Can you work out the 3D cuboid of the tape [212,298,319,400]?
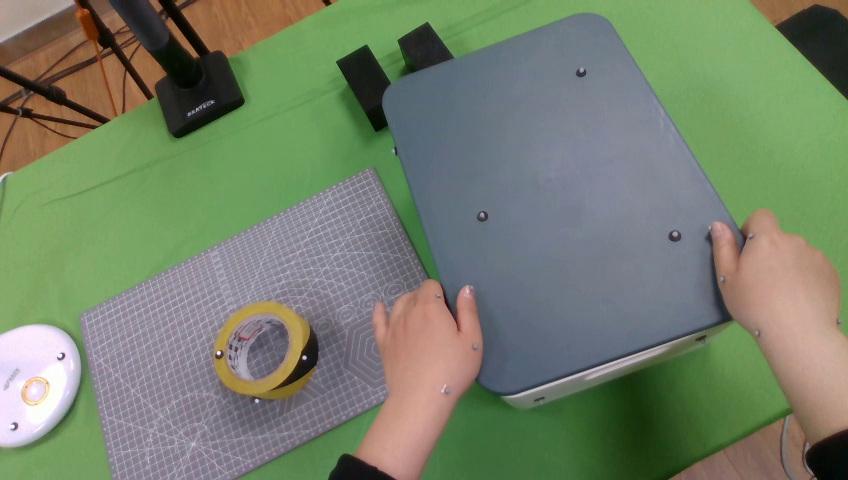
[{"bbox_3d":[-0.190,0.131,0.729,0.116,0.053,0.116,-4,67,10],"label":"tape"}]

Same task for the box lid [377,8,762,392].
[{"bbox_3d":[0.116,-0.064,0.587,0.263,0.015,0.368,-20,63,2],"label":"box lid"}]

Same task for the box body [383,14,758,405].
[{"bbox_3d":[0.136,-0.028,0.665,0.254,0.162,0.360,-22,66,3],"label":"box body"}]

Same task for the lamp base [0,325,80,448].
[{"bbox_3d":[-0.553,0.159,0.728,0.178,0.182,0.160,9,70,18],"label":"lamp base"}]
